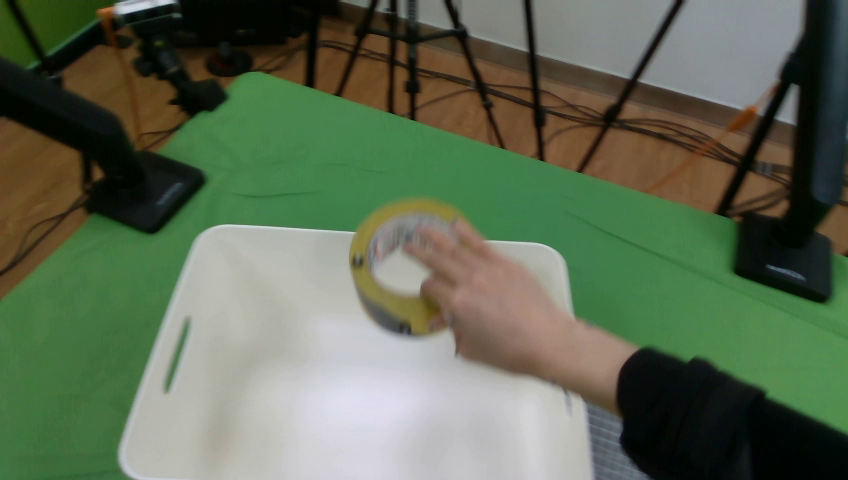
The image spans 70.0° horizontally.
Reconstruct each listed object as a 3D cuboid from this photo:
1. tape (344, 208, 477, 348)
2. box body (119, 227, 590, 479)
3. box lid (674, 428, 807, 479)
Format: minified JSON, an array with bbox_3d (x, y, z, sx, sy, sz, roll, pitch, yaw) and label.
[{"bbox_3d":[-0.012,0.031,0.531,0.117,0.053,0.116,0,56,1],"label":"tape"},{"bbox_3d":[-0.048,0.142,0.587,0.364,0.162,0.251,3,50,0],"label":"box body"},{"bbox_3d":[0.353,0.368,0.521,0.263,0.015,0.368,-32,59,-26],"label":"box lid"}]
